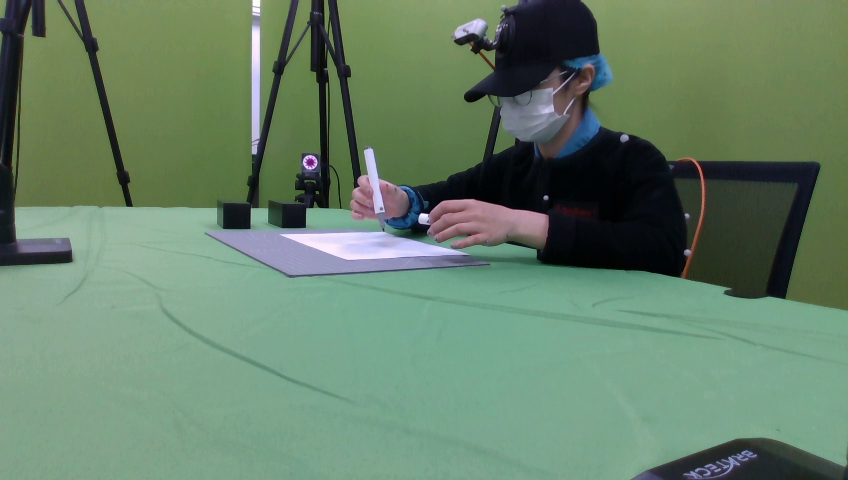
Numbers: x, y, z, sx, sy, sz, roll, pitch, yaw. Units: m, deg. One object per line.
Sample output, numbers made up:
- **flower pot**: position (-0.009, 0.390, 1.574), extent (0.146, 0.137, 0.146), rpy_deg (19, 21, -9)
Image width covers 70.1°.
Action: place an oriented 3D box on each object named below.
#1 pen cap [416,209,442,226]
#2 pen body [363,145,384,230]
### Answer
- **pen cap**: position (0.008, -0.033, 0.900), extent (0.038, 0.017, 0.017), rpy_deg (21, 16, 30)
- **pen body**: position (-0.080, -0.085, 0.979), extent (0.017, 0.144, 0.017), rpy_deg (-11, -13, -2)
